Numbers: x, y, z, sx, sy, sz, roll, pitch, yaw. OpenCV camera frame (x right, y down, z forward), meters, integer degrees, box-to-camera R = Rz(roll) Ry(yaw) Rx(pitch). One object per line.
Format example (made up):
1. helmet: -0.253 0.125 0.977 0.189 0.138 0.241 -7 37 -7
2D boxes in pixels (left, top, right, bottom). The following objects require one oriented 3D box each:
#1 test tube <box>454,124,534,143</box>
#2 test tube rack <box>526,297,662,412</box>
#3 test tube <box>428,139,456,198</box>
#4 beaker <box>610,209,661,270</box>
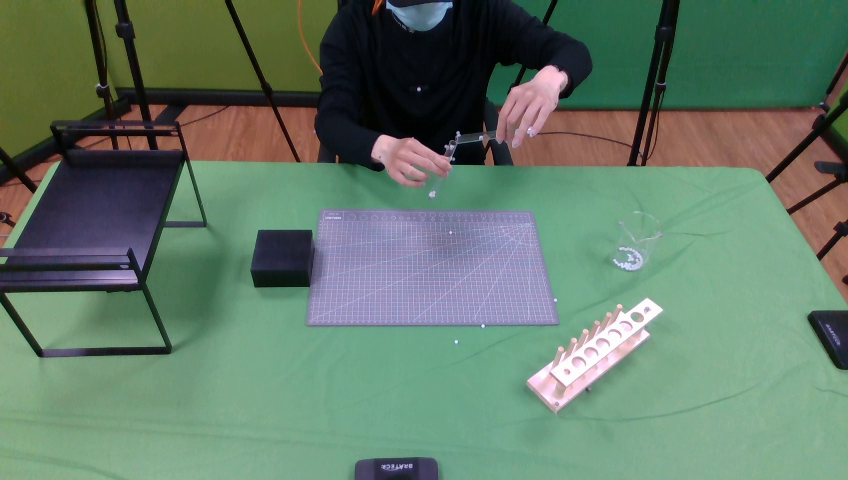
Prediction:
1. test tube: 0.128 -0.194 1.099 0.150 0.017 0.017 -9 48 -9
2. test tube rack: 0.284 0.176 1.007 0.242 0.085 0.066 -29 54 -27
3. test tube: 0.033 -0.133 1.151 0.017 0.151 0.017 10 50 -12
4. beaker: 0.404 0.005 1.170 0.074 0.101 0.083 19 49 15
